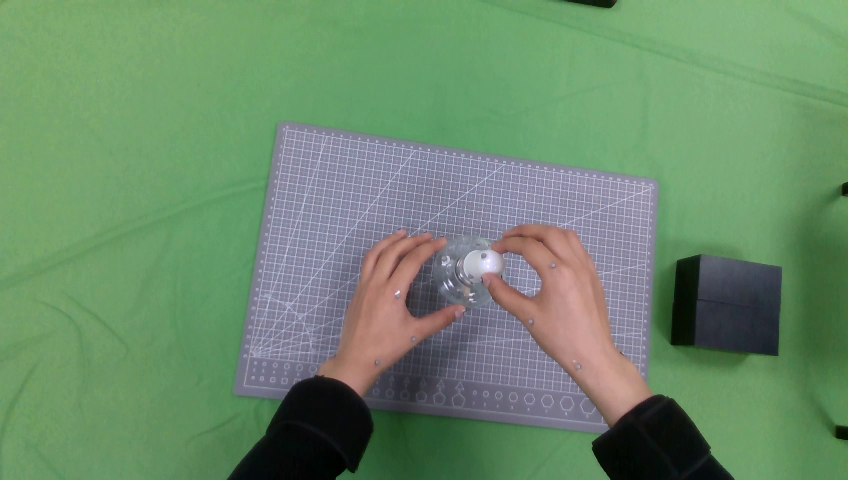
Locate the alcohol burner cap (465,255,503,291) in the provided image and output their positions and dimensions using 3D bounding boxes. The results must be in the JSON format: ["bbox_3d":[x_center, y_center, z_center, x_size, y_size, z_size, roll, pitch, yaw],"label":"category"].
[{"bbox_3d":[0.058,0.030,0.574,0.034,0.048,0.033,1,81,-4],"label":"alcohol burner cap"}]

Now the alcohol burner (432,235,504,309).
[{"bbox_3d":[0.049,0.031,0.625,0.078,0.119,0.077,1,82,-9],"label":"alcohol burner"}]
